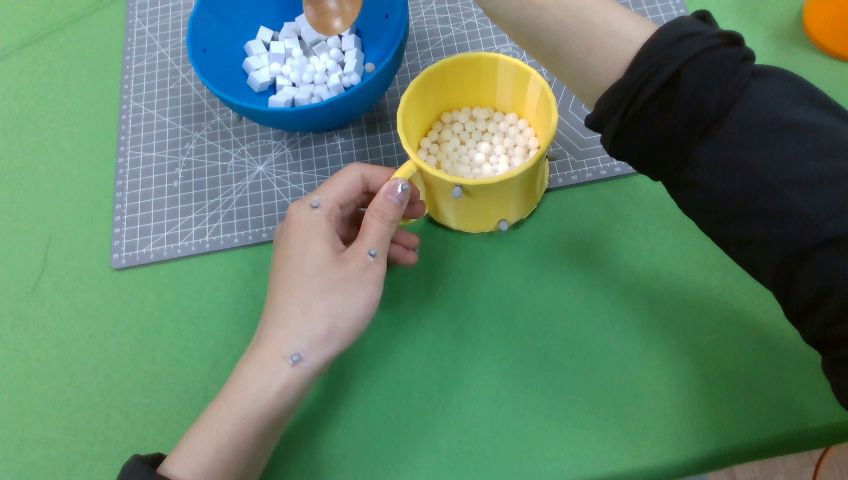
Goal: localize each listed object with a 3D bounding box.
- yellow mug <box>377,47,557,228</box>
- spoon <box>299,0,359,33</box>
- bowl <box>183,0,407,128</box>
[{"bbox_3d":[0.022,-0.057,0.395,0.131,0.064,0.099,-39,67,-11],"label":"yellow mug"},{"bbox_3d":[-0.033,-0.202,0.338,0.041,0.194,0.021,36,47,2],"label":"spoon"},{"bbox_3d":[-0.082,-0.134,0.433,0.151,0.077,0.150,-2,66,5],"label":"bowl"}]
